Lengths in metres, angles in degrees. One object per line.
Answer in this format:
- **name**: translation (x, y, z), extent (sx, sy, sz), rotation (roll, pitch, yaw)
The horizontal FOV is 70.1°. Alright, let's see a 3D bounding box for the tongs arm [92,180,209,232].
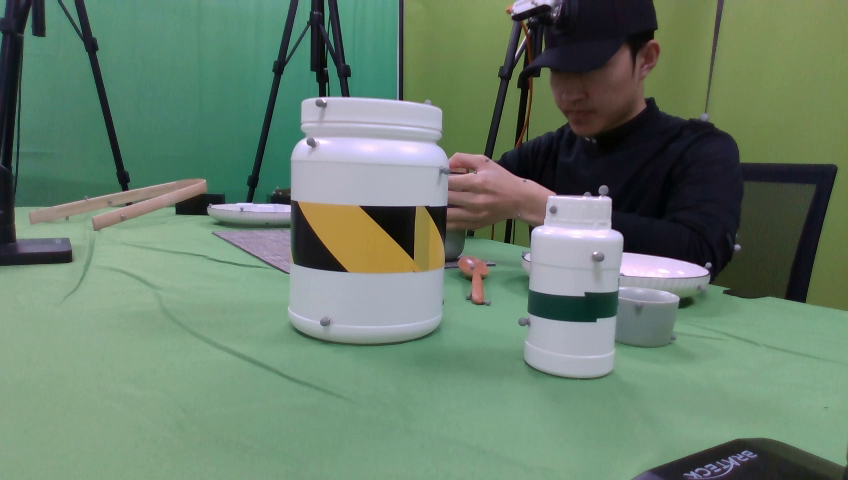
- **tongs arm**: translation (-0.534, -0.076, 1.221), extent (0.028, 0.028, 0.388), rotation (-2, 15, 12)

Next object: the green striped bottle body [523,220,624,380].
- **green striped bottle body**: translation (0.104, 0.031, 0.421), extent (0.063, 0.119, 0.063), rotation (2, 8, 0)

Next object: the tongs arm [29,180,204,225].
- **tongs arm**: translation (-0.609, -0.083, 1.245), extent (0.050, 0.026, 0.386), rotation (5, 16, 23)

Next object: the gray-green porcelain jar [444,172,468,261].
- **gray-green porcelain jar**: translation (0.010, -0.037, 0.874), extent (0.106, 0.126, 0.106), rotation (1, 9, 0)

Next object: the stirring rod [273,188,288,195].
- **stirring rod**: translation (-0.353, -0.122, 1.518), extent (0.006, 0.014, 0.176), rotation (1, 6, 1)

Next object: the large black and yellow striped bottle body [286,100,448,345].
- **large black and yellow striped bottle body**: translation (-0.047, -0.018, 0.501), extent (0.131, 0.184, 0.130), rotation (2, 7, 0)

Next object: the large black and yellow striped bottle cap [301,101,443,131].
- **large black and yellow striped bottle cap**: translation (-0.042, -0.099, 0.491), extent (0.115, 0.019, 0.115), rotation (1, 8, 0)

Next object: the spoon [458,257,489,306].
- **spoon**: translation (0.059, 0.044, 0.696), extent (0.041, 0.021, 0.194), rotation (18, 7, 1)

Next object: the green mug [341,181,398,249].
- **green mug**: translation (-0.089, -0.044, 0.997), extent (0.093, 0.105, 0.125), rotation (1, 7, -8)

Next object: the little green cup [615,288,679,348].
- **little green cup**: translation (0.180, 0.064, 0.506), extent (0.061, 0.038, 0.061), rotation (1, 8, 0)

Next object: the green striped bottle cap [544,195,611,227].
- **green striped bottle cap**: translation (0.105, -0.020, 0.415), extent (0.044, 0.020, 0.044), rotation (2, 5, 0)

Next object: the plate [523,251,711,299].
- **plate**: translation (0.219, 0.042, 0.706), extent (0.209, 0.038, 0.209), rotation (2, 7, 0)

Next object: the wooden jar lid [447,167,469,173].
- **wooden jar lid**: translation (0.011, -0.096, 0.866), extent (0.108, 0.020, 0.108), rotation (4, 7, 0)

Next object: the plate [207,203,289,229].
- **plate**: translation (-0.342, -0.050, 1.259), extent (0.208, 0.039, 0.207), rotation (3, 7, 0)
